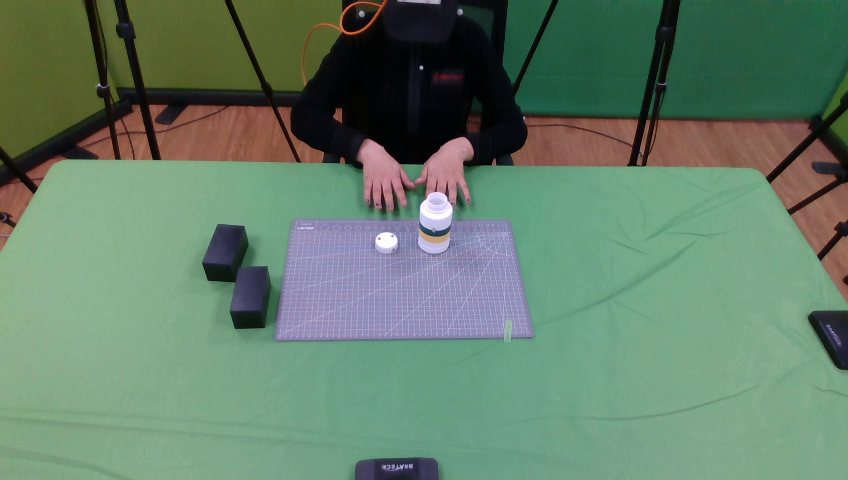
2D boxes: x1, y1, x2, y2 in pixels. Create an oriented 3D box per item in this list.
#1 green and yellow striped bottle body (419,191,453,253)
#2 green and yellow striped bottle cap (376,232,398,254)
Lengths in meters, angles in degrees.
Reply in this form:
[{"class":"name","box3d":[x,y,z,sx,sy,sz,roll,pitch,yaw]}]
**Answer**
[{"class":"green and yellow striped bottle body","box3d":[0.023,-0.036,1.160,0.063,0.120,0.063,2,46,-2]},{"class":"green and yellow striped bottle cap","box3d":[-0.073,0.006,1.187,0.045,0.020,0.045,2,44,-2]}]
